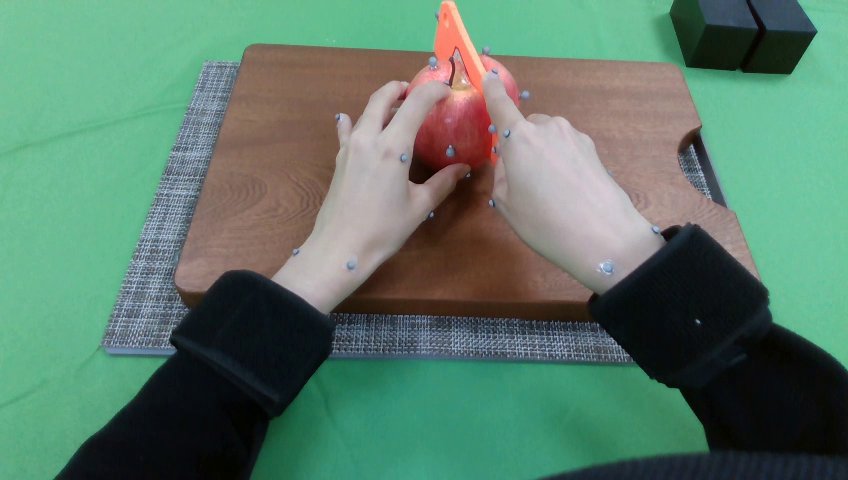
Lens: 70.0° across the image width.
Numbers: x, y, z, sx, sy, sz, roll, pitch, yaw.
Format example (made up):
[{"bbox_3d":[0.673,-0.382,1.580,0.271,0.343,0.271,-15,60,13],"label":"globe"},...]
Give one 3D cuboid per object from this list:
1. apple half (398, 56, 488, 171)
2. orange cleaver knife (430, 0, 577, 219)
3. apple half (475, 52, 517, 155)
[{"bbox_3d":[0.008,-0.089,0.450,0.053,0.075,0.080,-19,61,-12],"label":"apple half"},{"bbox_3d":[0.046,-0.087,0.424,0.012,0.078,0.209,-18,59,-12],"label":"orange cleaver knife"},{"bbox_3d":[0.050,-0.105,0.467,0.033,0.082,0.080,-12,54,-25],"label":"apple half"}]
